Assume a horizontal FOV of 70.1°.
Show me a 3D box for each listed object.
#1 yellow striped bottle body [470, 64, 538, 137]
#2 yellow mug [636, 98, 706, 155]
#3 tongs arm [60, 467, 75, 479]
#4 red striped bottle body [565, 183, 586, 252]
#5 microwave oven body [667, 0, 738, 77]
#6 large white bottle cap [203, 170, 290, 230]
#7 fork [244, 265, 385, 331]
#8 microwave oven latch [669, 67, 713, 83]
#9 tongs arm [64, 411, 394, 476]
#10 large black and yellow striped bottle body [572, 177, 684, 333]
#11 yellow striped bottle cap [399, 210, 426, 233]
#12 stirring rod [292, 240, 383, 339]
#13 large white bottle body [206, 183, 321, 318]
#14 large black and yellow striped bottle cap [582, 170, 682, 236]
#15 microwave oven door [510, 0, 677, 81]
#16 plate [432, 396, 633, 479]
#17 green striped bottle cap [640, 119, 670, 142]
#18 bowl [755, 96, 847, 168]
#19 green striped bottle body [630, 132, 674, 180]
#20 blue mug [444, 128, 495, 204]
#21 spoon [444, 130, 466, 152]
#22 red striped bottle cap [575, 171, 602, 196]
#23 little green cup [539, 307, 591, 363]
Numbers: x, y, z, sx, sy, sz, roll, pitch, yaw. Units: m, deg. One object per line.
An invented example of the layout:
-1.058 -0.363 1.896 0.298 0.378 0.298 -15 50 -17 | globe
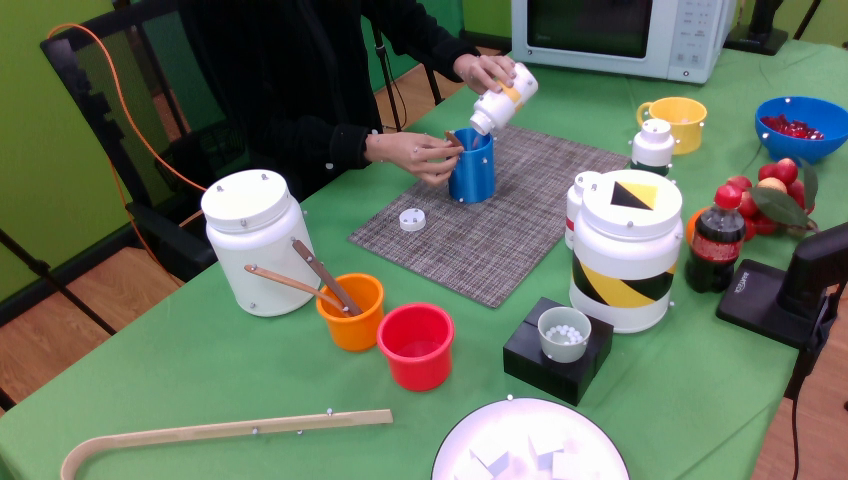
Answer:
0.130 -0.230 1.015 0.120 0.063 0.062 -47 49 -4 | yellow striped bottle body
0.453 -0.217 1.128 0.100 0.064 0.129 -34 46 -27 | yellow mug
-0.239 0.301 0.648 0.386 0.028 0.028 6 49 16 | tongs arm
0.247 -0.041 0.910 0.063 0.120 0.062 -3 39 3 | red striped bottle body
0.462 -0.552 1.369 0.439 0.261 0.326 15 45 26 | microwave oven body
-0.241 -0.057 0.822 0.115 0.018 0.114 -4 40 4 | large white bottle cap
-0.142 0.078 0.806 0.209 0.018 0.028 30 33 -23 | fork
0.556 -0.348 1.261 0.078 0.029 0.030 16 46 27 | microwave oven latch
-0.228 0.241 0.715 0.385 0.026 0.050 -5 43 4 | tongs arm
0.262 0.017 0.788 0.131 0.185 0.130 -5 40 4 | large black and yellow striped bottle body
-0.019 -0.032 1.017 0.044 0.019 0.044 -4 39 4 | yellow striped bottle cap
-0.118 0.068 0.826 0.176 0.006 0.014 49 59 -4 | stirring rod
-0.233 0.008 0.876 0.130 0.185 0.130 -5 40 4 | large white bottle body
0.252 -0.048 0.735 0.115 0.019 0.114 -3 40 3 | large black and yellow striped bottle cap
0.353 -0.478 1.290 0.353 0.245 0.039 15 45 25 | microwave oven door
0.112 0.261 0.635 0.209 0.038 0.208 -5 40 4 | plate
0.371 -0.175 0.968 0.044 0.020 0.044 -4 41 4 | green striped bottle cap
0.645 -0.177 1.041 0.151 0.077 0.150 -5 40 4 | bowl
0.376 -0.135 1.001 0.063 0.120 0.063 -5 40 5 | green striped bottle body
0.080 -0.139 1.058 0.082 0.106 0.116 -5 41 4 | blue mug
0.063 -0.144 0.999 0.041 0.195 0.021 15 80 22 | spoon
0.242 -0.082 0.876 0.044 0.018 0.044 -5 44 5 | red striped bottle cap
0.167 0.114 0.721 0.061 0.039 0.061 -4 43 4 | little green cup
